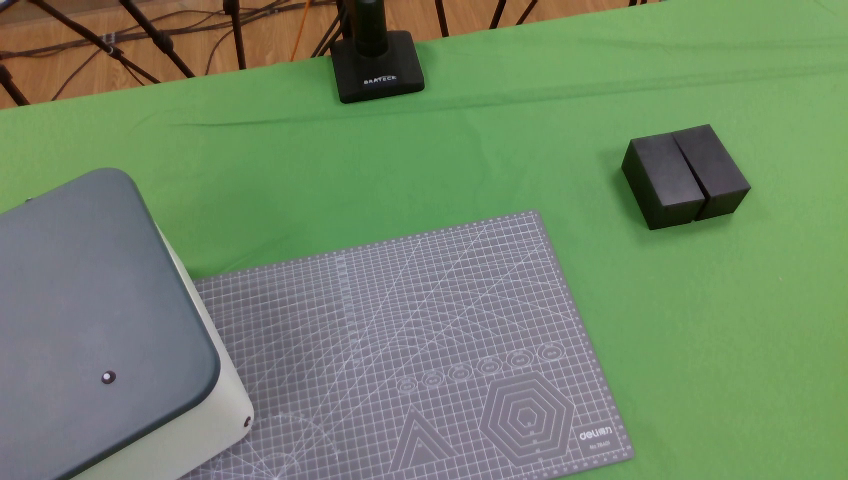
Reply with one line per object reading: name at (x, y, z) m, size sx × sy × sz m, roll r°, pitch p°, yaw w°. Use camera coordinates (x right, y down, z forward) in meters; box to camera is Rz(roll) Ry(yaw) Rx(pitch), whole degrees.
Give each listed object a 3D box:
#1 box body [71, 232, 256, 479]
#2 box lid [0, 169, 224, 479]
box body at (-0.368, 0.143, 0.546) m, size 0.364 × 0.162 × 0.251 m, roll -30°, pitch 62°, yaw -15°
box lid at (-0.369, 0.103, 0.482) m, size 0.372 × 0.015 × 0.261 m, roll -29°, pitch 63°, yaw -15°
